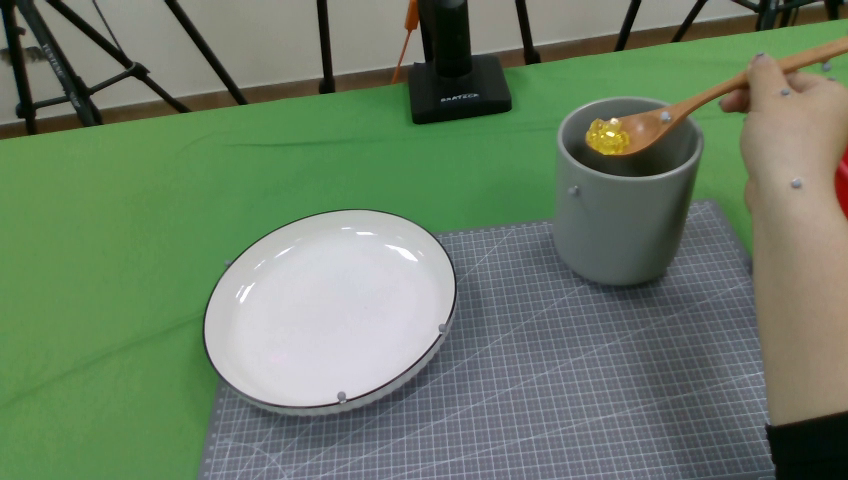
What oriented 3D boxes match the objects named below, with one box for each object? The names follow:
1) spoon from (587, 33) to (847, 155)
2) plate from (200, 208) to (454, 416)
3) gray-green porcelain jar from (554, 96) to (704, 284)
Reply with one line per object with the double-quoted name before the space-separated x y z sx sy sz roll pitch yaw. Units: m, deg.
"spoon" 0.210 -0.104 0.426 0.193 0.022 0.041 -23 42 17
"plate" -0.077 0.056 0.505 0.207 0.039 0.205 -4 45 5
"gray-green porcelain jar" 0.160 -0.035 0.493 0.106 0.128 0.105 -5 45 5
